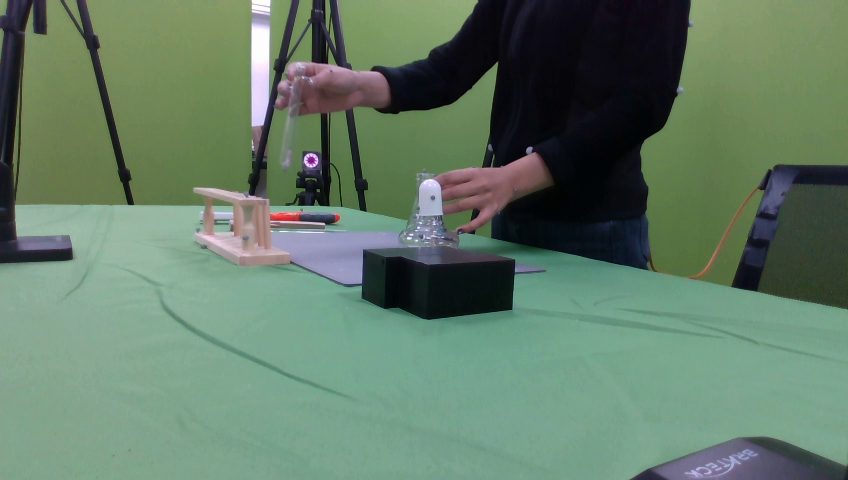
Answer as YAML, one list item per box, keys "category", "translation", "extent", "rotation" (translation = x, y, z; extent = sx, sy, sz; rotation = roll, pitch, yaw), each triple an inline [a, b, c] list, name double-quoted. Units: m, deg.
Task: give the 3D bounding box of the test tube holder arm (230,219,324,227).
- category: "test tube holder arm"
  translation: [-0.275, -0.031, 1.145]
  extent: [0.179, 0.015, 0.013]
  rotation: [-3, 46, -31]

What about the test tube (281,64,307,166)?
- category: "test tube"
  translation: [-0.190, -0.182, 0.882]
  extent: [0.017, 0.150, 0.017]
  rotation: [9, 0, 0]

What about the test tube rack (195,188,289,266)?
- category: "test tube rack"
  translation: [-0.266, -0.025, 0.864]
  extent: [0.067, 0.085, 0.241]
  rotation: [-2, 9, -33]

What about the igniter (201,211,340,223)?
- category: "igniter"
  translation: [-0.311, -0.047, 1.243]
  extent: [0.278, 0.025, 0.057]
  rotation: [-1, -2, -24]

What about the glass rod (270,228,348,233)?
- category: "glass rod"
  translation: [-0.234, -0.017, 1.105]
  extent: [0.201, 0.008, 0.008]
  rotation: [1, 7, -26]

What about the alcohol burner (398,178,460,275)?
- category: "alcohol burner"
  translation: [0.007, -0.017, 0.751]
  extent: [0.078, 0.119, 0.078]
  rotation: [3, 9, 0]

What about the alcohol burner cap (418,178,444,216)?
- category: "alcohol burner cap"
  translation: [0.007, -0.053, 0.745]
  extent: [0.034, 0.048, 0.034]
  rotation: [-3, 6, 1]

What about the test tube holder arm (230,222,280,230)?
- category: "test tube holder arm"
  translation: [-0.312, -0.025, 1.118]
  extent: [0.088, 0.015, 0.010]
  rotation: [-2, 46, -30]

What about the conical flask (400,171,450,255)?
- category: "conical flask"
  translation: [0.003, -0.042, 0.910]
  extent: [0.075, 0.122, 0.075]
  rotation: [2, 7, 0]
